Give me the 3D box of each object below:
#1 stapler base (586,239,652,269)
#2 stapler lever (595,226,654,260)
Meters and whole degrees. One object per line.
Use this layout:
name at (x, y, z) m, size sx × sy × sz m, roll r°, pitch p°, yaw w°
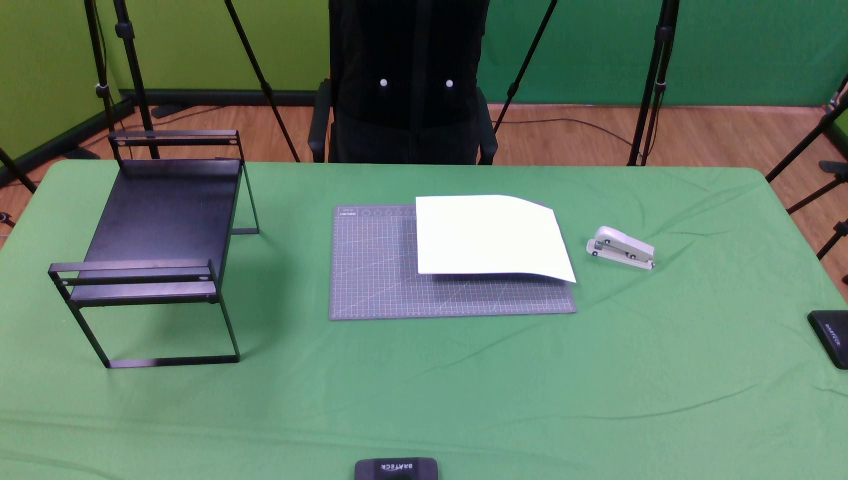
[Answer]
stapler base at (0.392, 0.021, 1.205) m, size 0.130 × 0.024 × 0.041 m, roll 16°, pitch 49°, yaw 10°
stapler lever at (0.395, 0.004, 1.188) m, size 0.118 × 0.040 × 0.026 m, roll 16°, pitch 49°, yaw 10°
